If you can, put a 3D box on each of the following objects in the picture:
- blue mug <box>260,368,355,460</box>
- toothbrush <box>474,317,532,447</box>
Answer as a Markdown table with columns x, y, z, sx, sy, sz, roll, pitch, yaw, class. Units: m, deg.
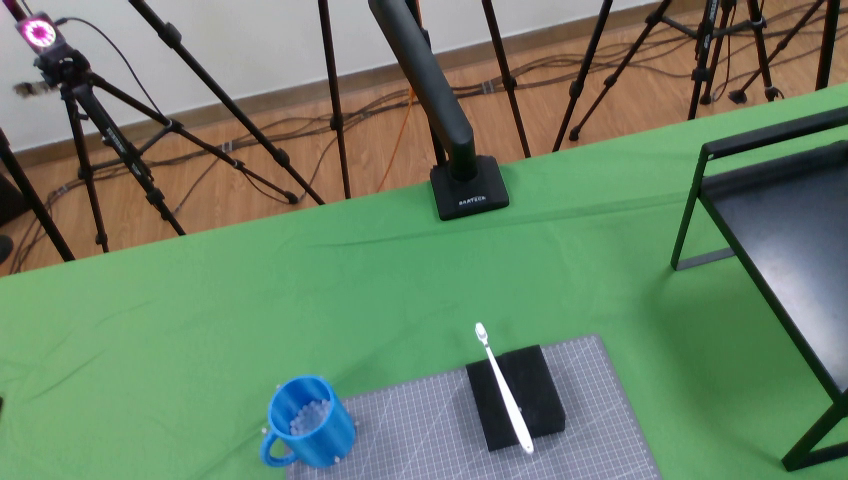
| x | y | z | sx | sy | sz | roll | pitch | yaw | class |
| --- | --- | --- | --- | --- | --- | --- | --- | --- | --- |
| -0.152 | 0.231 | 0.764 | 0.116 | 0.107 | 0.081 | -38 | 56 | -17 | blue mug |
| 0.097 | 0.172 | 0.757 | 0.014 | 0.017 | 0.180 | -16 | 52 | -7 | toothbrush |
